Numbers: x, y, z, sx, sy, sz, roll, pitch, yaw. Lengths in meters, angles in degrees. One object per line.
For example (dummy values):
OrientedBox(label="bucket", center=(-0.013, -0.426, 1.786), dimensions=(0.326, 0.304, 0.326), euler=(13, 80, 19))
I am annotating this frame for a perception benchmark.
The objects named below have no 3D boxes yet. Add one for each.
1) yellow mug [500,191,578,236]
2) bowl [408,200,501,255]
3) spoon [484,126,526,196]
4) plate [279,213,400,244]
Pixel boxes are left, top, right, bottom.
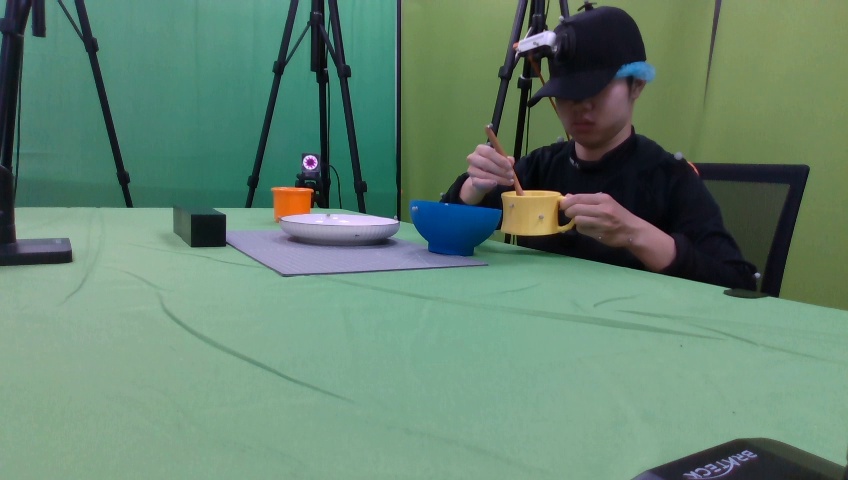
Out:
OrientedBox(label="yellow mug", center=(0.193, -0.046, 1.013), dimensions=(0.130, 0.064, 0.100), euler=(5, 11, 26))
OrientedBox(label="bowl", center=(0.045, -0.019, 0.967), dimensions=(0.151, 0.077, 0.151), euler=(6, 5, 0))
OrientedBox(label="spoon", center=(0.147, -0.104, 1.006), dimensions=(0.022, 0.194, 0.041), euler=(-31, 9, -29))
OrientedBox(label="plate", center=(-0.147, -0.020, 1.060), dimensions=(0.209, 0.038, 0.209), euler=(2, 7, 0))
